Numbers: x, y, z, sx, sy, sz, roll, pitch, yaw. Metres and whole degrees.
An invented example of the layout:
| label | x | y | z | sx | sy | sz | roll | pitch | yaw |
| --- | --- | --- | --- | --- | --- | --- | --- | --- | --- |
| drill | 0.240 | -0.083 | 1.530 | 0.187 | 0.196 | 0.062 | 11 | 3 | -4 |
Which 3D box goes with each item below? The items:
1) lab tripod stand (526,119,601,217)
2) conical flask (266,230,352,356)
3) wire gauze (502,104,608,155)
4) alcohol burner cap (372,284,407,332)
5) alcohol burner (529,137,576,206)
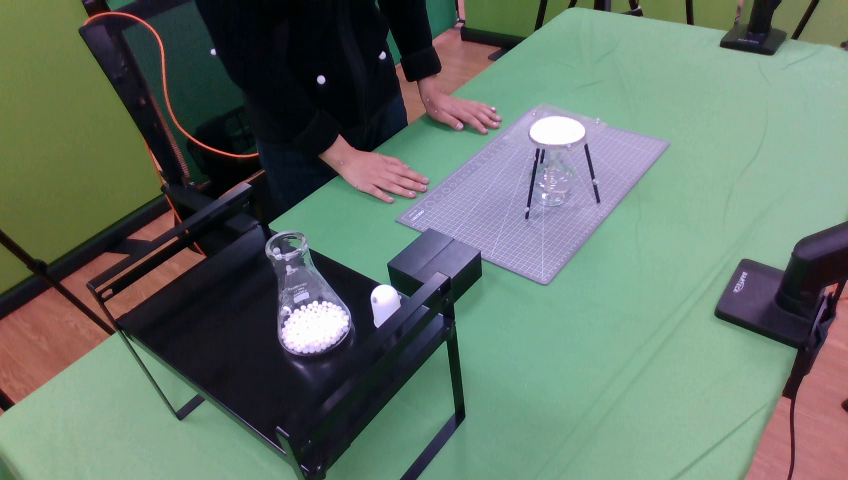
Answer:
| label | x | y | z | sx | sy | sz | roll | pitch | yaw |
| --- | --- | --- | --- | --- | --- | --- | --- | --- | --- |
| lab tripod stand | 0.220 | -0.122 | 0.995 | 0.148 | 0.132 | 0.147 | -3 | 39 | 3 |
| conical flask | -0.116 | 0.047 | 0.580 | 0.075 | 0.122 | 0.075 | -5 | 40 | 4 |
| wire gauze | 0.207 | -0.173 | 0.952 | 0.120 | 0.011 | 0.125 | 24 | 48 | 31 |
| alcohol burner cap | -0.036 | 0.066 | 0.608 | 0.034 | 0.048 | 0.033 | -5 | 41 | 5 |
| alcohol burner | 0.214 | -0.117 | 1.005 | 0.078 | 0.119 | 0.077 | -4 | 38 | 4 |
